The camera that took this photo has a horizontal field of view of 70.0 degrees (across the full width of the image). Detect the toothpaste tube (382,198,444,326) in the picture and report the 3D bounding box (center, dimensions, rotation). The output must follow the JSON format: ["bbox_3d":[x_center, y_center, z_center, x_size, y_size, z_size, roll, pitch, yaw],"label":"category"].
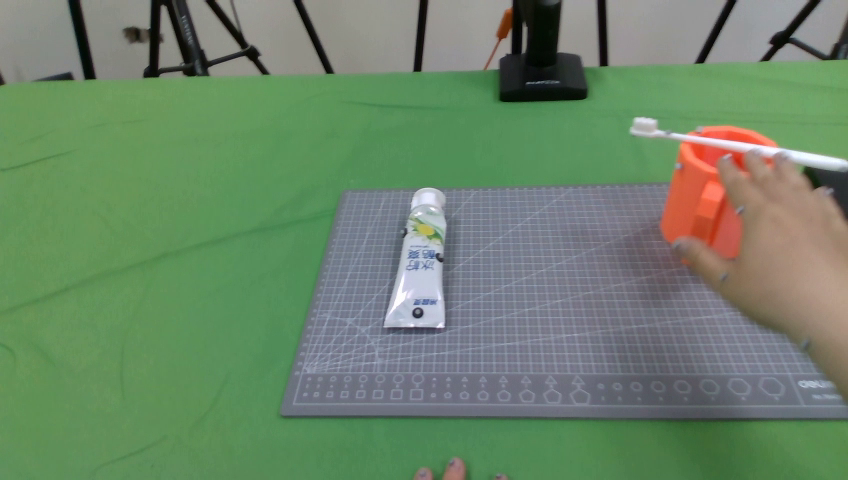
[{"bbox_3d":[-0.007,0.016,0.586,0.055,0.035,0.163,-4,45,8],"label":"toothpaste tube"}]

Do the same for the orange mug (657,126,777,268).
[{"bbox_3d":[0.266,-0.036,0.564,0.083,0.102,0.126,19,42,26],"label":"orange mug"}]

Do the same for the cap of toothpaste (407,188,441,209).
[{"bbox_3d":[0.000,-0.039,0.638,0.037,0.038,0.011,2,48,7],"label":"cap of toothpaste"}]

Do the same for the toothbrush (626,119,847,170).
[{"bbox_3d":[0.273,-0.086,0.540,0.181,0.017,0.014,16,39,22],"label":"toothbrush"}]
